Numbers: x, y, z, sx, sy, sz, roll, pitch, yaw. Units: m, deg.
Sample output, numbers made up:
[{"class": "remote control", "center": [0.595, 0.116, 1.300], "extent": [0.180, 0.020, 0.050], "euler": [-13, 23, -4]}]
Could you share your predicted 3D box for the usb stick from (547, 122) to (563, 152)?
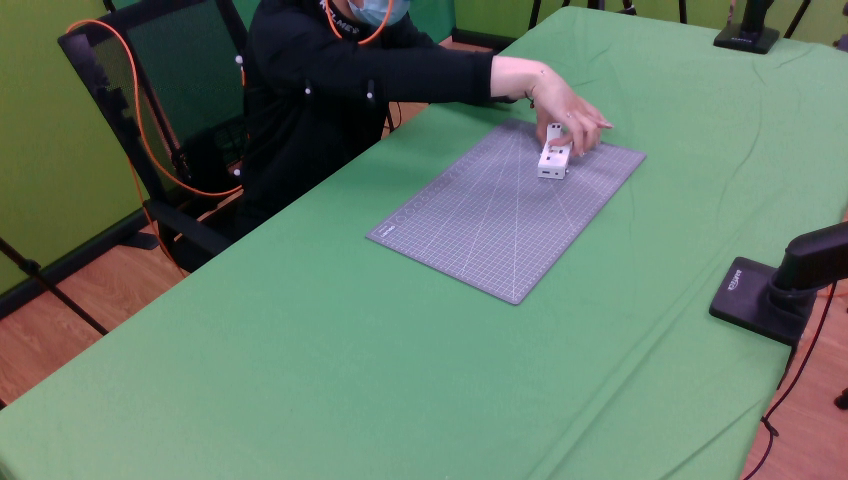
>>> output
[{"class": "usb stick", "center": [0.235, -0.181, 1.085], "extent": [0.027, 0.059, 0.021], "euler": [6, 42, 13]}]

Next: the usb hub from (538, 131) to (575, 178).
[{"class": "usb hub", "center": [0.245, -0.159, 1.112], "extent": [0.049, 0.025, 0.125], "euler": [8, 44, 18]}]
